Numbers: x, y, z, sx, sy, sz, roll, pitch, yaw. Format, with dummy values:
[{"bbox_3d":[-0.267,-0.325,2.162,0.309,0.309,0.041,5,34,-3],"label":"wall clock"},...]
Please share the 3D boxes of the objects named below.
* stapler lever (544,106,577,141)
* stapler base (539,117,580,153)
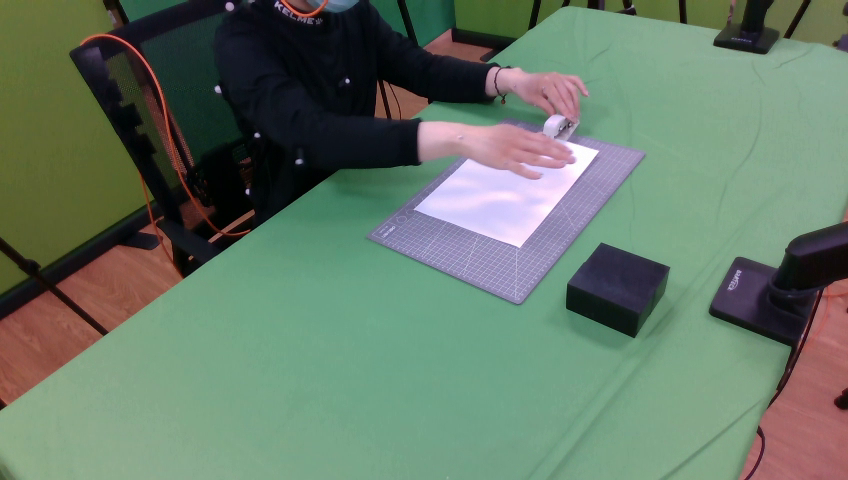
[{"bbox_3d":[0.262,-0.232,1.160,0.026,0.040,0.118,18,46,24],"label":"stapler lever"},{"bbox_3d":[0.264,-0.213,1.174,0.041,0.024,0.131,18,45,24],"label":"stapler base"}]
